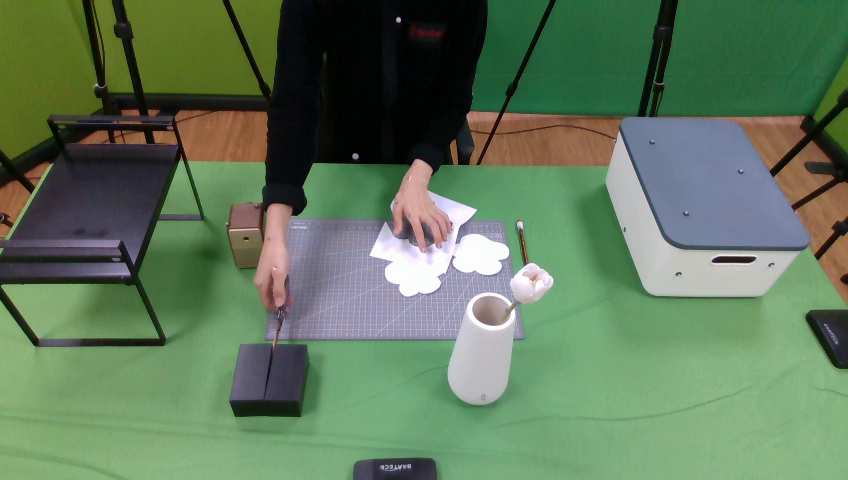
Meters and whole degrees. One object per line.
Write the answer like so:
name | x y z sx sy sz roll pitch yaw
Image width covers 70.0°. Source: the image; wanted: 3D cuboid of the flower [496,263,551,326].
flower | 0.102 0.121 0.853 0.044 0.363 0.038 -1 64 -10

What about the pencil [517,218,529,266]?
pencil | 0.200 0.028 1.196 0.012 0.012 0.193 1 48 -3

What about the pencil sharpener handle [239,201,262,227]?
pencil sharpener handle | -0.325 -0.055 1.150 0.036 0.068 0.030 -13 46 3

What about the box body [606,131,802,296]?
box body | 0.530 -0.067 1.204 0.254 0.161 0.361 0 46 -4

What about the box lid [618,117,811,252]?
box lid | 0.534 -0.117 1.149 0.263 0.015 0.369 0 47 -3

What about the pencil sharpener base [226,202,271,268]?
pencil sharpener base | -0.323 -0.010 1.123 0.061 0.107 0.076 -3 46 -6

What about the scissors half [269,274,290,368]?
scissors half | -0.241 0.129 1.001 0.013 0.040 0.174 2 56 -1

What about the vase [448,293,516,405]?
vase | 0.091 0.169 0.921 0.098 0.201 0.097 3 47 -3

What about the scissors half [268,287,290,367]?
scissors half | -0.243 0.143 1.015 0.013 0.040 0.174 6 37 -4
